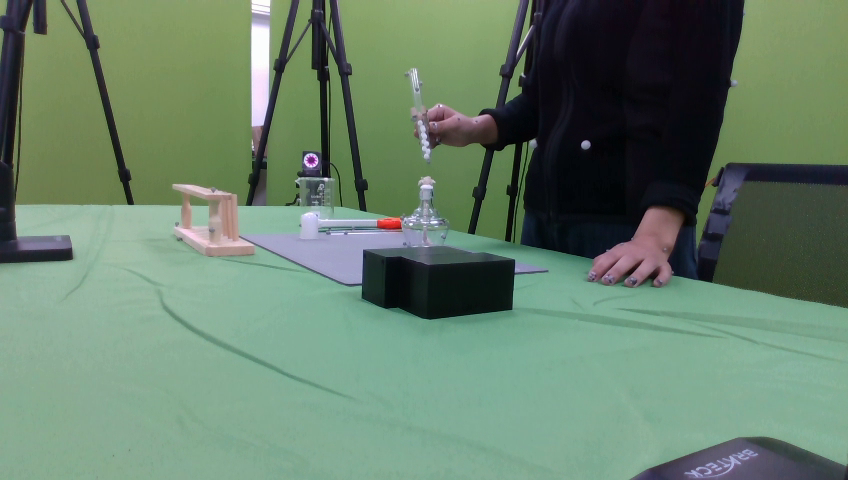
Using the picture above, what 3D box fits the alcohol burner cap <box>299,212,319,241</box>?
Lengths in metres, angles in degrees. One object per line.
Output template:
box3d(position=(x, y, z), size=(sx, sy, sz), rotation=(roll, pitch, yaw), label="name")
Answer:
box3d(position=(-0.195, -0.024, 1.025), size=(0.034, 0.048, 0.034), rotation=(3, 7, 0), label="alcohol burner cap")

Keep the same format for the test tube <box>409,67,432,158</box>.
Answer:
box3d(position=(-0.006, -0.201, 0.948), size=(0.017, 0.150, 0.017), rotation=(-9, -10, -1), label="test tube")

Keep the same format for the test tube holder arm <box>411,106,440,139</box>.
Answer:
box3d(position=(0.004, -0.195, 1.016), size=(0.013, 0.015, 0.179), rotation=(-9, -5, 11), label="test tube holder arm")

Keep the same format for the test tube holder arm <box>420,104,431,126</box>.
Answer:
box3d(position=(0.002, -0.199, 0.971), size=(0.010, 0.015, 0.088), rotation=(-9, -5, 4), label="test tube holder arm")

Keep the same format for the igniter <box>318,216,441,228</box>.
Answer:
box3d(position=(-0.090, -0.036, 1.222), size=(0.278, 0.025, 0.057), rotation=(-2, -2, -32), label="igniter")

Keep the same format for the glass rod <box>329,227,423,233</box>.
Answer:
box3d(position=(-0.087, -0.019, 1.148), size=(0.201, 0.008, 0.008), rotation=(-3, 8, -32), label="glass rod")

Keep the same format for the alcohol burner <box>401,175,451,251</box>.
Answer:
box3d(position=(0.003, -0.042, 0.947), size=(0.078, 0.119, 0.078), rotation=(1, 9, 0), label="alcohol burner")

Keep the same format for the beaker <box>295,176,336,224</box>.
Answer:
box3d(position=(-0.224, -0.080, 1.247), size=(0.084, 0.100, 0.073), rotation=(-1, 8, -18), label="beaker")

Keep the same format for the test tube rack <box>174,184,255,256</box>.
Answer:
box3d(position=(-0.327, -0.036, 0.928), size=(0.067, 0.085, 0.241), rotation=(-2, 9, -32), label="test tube rack")
